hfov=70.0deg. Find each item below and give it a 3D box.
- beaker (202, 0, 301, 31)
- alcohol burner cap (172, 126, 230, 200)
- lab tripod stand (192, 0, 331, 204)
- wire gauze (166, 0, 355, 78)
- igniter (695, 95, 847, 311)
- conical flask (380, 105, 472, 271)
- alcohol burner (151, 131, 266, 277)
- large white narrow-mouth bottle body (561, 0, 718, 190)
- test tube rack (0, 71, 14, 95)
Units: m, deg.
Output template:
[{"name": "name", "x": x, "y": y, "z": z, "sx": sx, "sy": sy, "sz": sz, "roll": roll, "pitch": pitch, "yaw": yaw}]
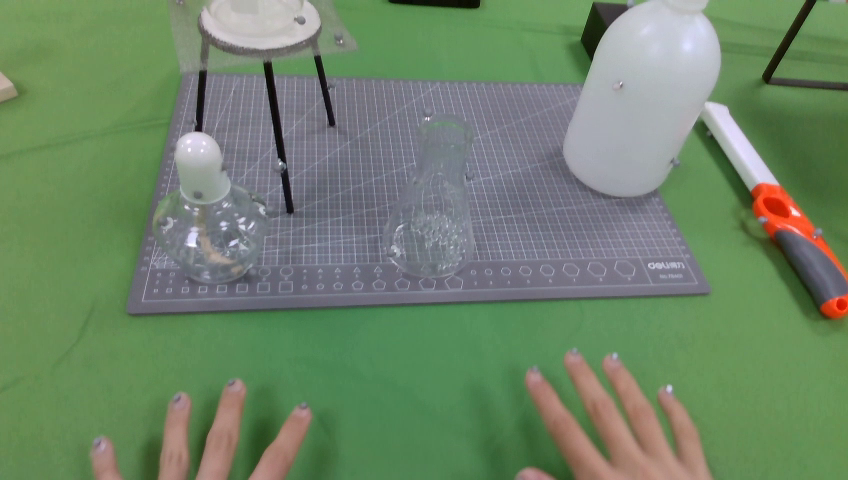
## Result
[{"name": "beaker", "x": -0.123, "y": -0.203, "z": 0.411, "sx": 0.084, "sy": 0.101, "sz": 0.073, "roll": -6, "pitch": 51, "yaw": -14}, {"name": "alcohol burner cap", "x": -0.146, "y": -0.052, "z": 0.393, "sx": 0.034, "sy": 0.048, "sz": 0.033, "roll": 4, "pitch": 54, "yaw": -5}, {"name": "lab tripod stand", "x": -0.128, "y": -0.124, "z": 0.495, "sx": 0.149, "sy": 0.132, "sz": 0.147, "roll": 6, "pitch": 49, "yaw": -6}, {"name": "wire gauze", "x": -0.125, "y": -0.169, "z": 0.447, "sx": 0.122, "sy": 0.011, "sz": 0.123, "roll": -13, "pitch": 56, "yaw": -17}, {"name": "igniter", "x": 0.323, "y": -0.047, "z": 0.573, "sx": 0.057, "sy": 0.025, "sz": 0.273, "roll": 7, "pitch": 47, "yaw": -17}, {"name": "conical flask", "x": 0.007, "y": -0.039, "z": 0.449, "sx": 0.075, "sy": 0.123, "sz": 0.074, "roll": 4, "pitch": 48, "yaw": -5}, {"name": "alcohol burner", "x": -0.151, "y": -0.029, "z": 0.421, "sx": 0.078, "sy": 0.120, "sz": 0.077, "roll": 6, "pitch": 47, "yaw": -6}, {"name": "large white narrow-mouth bottle body", "x": 0.189, "y": -0.142, "z": 0.519, "sx": 0.102, "sy": 0.196, "sz": 0.101, "roll": 4, "pitch": 48, "yaw": -4}, {"name": "test tube rack", "x": -0.480, "y": -0.124, "z": 0.476, "sx": 0.066, "sy": 0.086, "sz": 0.242, "roll": 37, "pitch": 54, "yaw": 22}]
